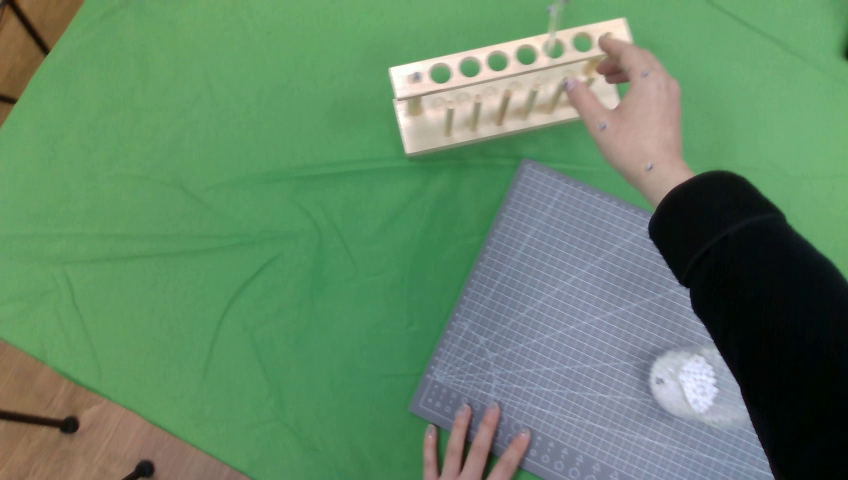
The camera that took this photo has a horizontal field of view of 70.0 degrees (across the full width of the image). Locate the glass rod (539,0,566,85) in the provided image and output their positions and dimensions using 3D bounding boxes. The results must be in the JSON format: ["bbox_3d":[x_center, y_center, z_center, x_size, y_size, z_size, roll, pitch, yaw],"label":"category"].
[{"bbox_3d":[0.122,-0.188,0.577,0.008,0.200,0.008,-1,83,6],"label":"glass rod"}]

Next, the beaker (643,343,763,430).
[{"bbox_3d":[0.256,0.136,0.576,0.084,0.100,0.073,14,79,3],"label":"beaker"}]

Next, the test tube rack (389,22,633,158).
[{"bbox_3d":[0.090,-0.154,0.638,0.242,0.085,0.066,-12,79,-2],"label":"test tube rack"}]
